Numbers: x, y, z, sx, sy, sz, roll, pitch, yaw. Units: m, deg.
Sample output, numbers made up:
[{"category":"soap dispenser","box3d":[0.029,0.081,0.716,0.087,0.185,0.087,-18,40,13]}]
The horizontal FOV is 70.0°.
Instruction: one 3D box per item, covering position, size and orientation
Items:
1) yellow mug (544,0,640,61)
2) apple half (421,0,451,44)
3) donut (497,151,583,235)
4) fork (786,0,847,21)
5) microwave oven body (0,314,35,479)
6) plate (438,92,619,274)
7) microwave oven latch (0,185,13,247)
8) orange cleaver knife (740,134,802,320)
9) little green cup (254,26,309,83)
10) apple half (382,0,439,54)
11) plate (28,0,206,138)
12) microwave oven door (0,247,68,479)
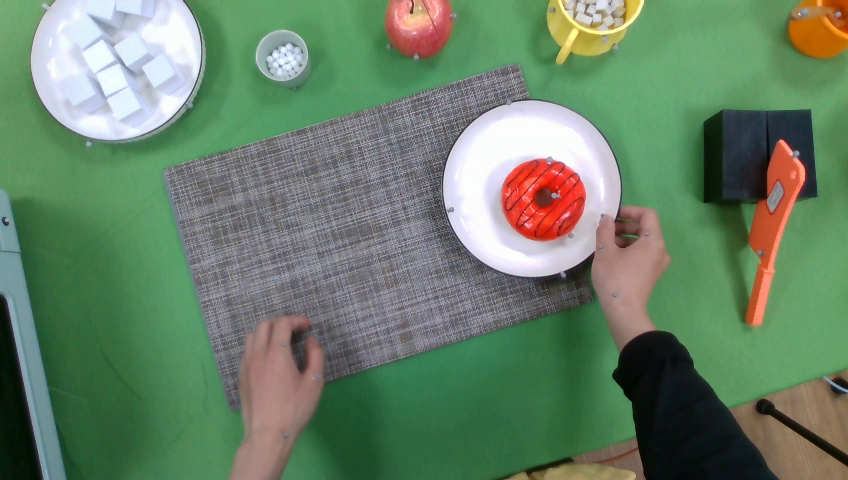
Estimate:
[{"category":"yellow mug","box3d":[0.187,-0.267,0.709,0.100,0.064,0.131,31,88,2]},{"category":"apple half","box3d":[0.014,-0.271,0.707,0.033,0.081,0.081,-26,86,4]},{"category":"donut","box3d":[0.133,-0.053,0.696,0.099,0.048,0.099,0,88,2]},{"category":"fork","box3d":[0.432,-0.253,0.662,0.208,0.018,0.028,-20,86,-44]},{"category":"microwave oven body","box3d":[-0.606,0.170,0.594,0.326,0.260,0.441,-14,87,0]},{"category":"plate","box3d":[0.120,-0.065,0.708,0.209,0.038,0.208,0,87,1]},{"category":"microwave oven latch","box3d":[-0.503,-0.031,0.701,0.030,0.029,0.079,-13,87,0]},{"category":"orange cleaver knife","box3d":[0.382,-0.010,0.683,0.012,0.076,0.213,3,116,5]},{"category":"little green cup","box3d":[-0.168,-0.219,0.725,0.061,0.038,0.061,0,86,1]},{"category":"apple half","box3d":[-0.021,-0.254,0.708,0.053,0.074,0.081,-25,90,4]},{"category":"plate","box3d":[-0.362,-0.222,0.728,0.208,0.039,0.207,0,86,1]},{"category":"microwave oven door","box3d":[-0.454,0.175,0.587,0.039,0.244,0.355,-14,86,0]}]
